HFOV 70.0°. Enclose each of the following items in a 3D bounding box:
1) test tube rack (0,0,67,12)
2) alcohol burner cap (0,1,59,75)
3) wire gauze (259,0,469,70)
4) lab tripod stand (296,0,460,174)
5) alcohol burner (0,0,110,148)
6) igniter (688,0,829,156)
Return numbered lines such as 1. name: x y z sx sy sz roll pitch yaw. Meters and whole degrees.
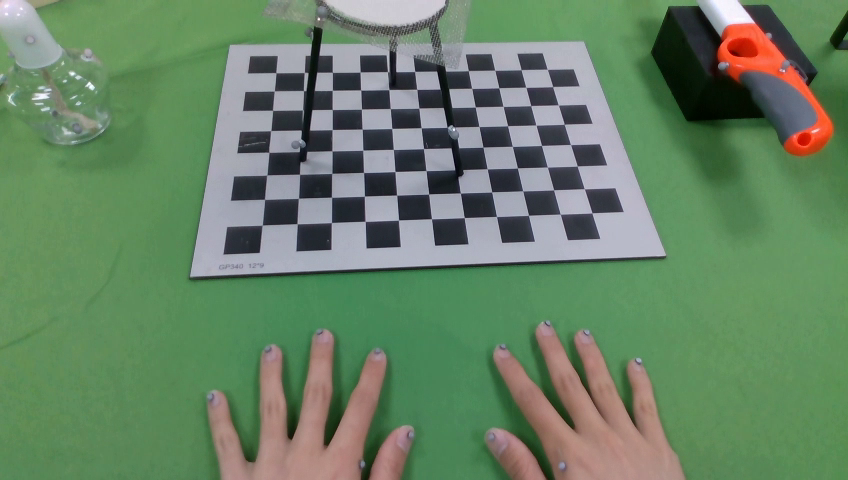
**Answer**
1. test tube rack: -0.339 -0.307 0.604 0.242 0.086 0.066 -32 62 -24
2. alcohol burner cap: -0.288 -0.146 0.431 0.034 0.048 0.033 0 54 0
3. wire gauze: -0.030 -0.163 0.398 0.125 0.011 0.120 12 53 4
4. lab tripod stand: -0.030 -0.125 0.454 0.148 0.132 0.147 3 52 -3
5. alcohol burner: -0.288 -0.128 0.456 0.078 0.120 0.077 1 54 0
6. igniter: 0.268 -0.171 0.519 0.057 0.025 0.273 -5 52 -3
